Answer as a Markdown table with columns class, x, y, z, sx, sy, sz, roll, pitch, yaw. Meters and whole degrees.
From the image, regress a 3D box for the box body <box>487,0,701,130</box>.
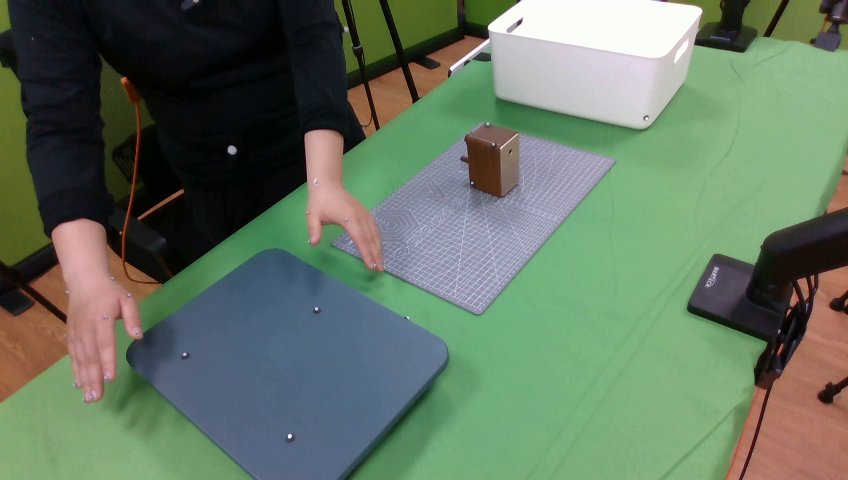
| class | x | y | z | sx | sy | sz | roll | pitch | yaw |
| --- | --- | --- | --- | --- | --- | --- | --- | --- | --- |
| box body | 0.345 | -0.379 | 1.257 | 0.361 | 0.161 | 0.255 | 20 | 48 | 29 |

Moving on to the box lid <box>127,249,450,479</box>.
| class | x | y | z | sx | sy | sz | roll | pitch | yaw |
| --- | --- | --- | --- | --- | --- | --- | --- | --- | --- |
| box lid | -0.177 | 0.145 | 0.768 | 0.368 | 0.015 | 0.264 | 24 | 50 | 32 |

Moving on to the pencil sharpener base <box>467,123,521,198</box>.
| class | x | y | z | sx | sy | sz | roll | pitch | yaw |
| --- | --- | --- | --- | --- | --- | --- | --- | --- | --- |
| pencil sharpener base | 0.119 | -0.138 | 1.044 | 0.076 | 0.107 | 0.061 | 23 | 49 | 32 |

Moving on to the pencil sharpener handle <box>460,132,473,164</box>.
| class | x | y | z | sx | sy | sz | roll | pitch | yaw |
| --- | --- | --- | --- | --- | --- | --- | --- | --- | --- |
| pencil sharpener handle | 0.077 | -0.163 | 1.062 | 0.030 | 0.068 | 0.036 | 23 | 44 | 32 |
